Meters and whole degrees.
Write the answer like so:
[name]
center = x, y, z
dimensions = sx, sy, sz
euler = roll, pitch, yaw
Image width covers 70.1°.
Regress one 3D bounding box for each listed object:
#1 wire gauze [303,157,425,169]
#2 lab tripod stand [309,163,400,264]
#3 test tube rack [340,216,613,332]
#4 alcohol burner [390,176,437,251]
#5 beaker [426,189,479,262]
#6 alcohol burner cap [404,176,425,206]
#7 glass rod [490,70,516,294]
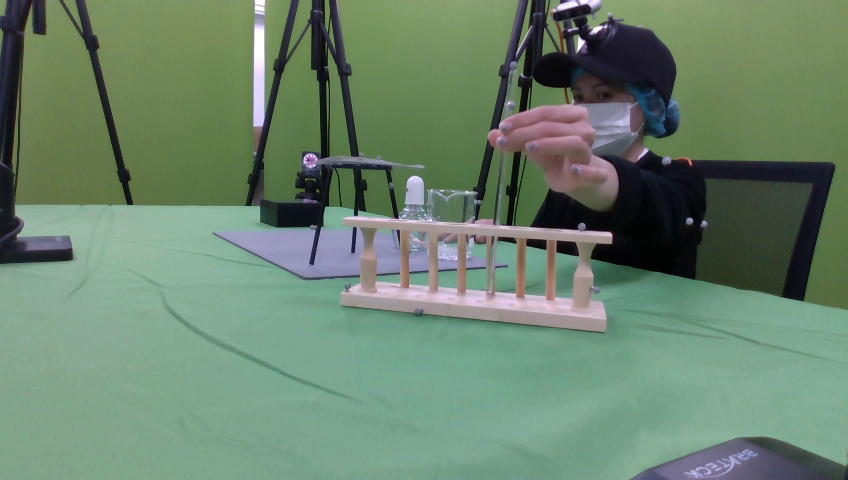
[wire gauze]
center = -0.082, -0.102, 0.799
dimensions = 0.126, 0.011, 0.121
euler = -1, 7, -30
[lab tripod stand]
center = -0.091, -0.037, 0.813
dimensions = 0.148, 0.131, 0.148
euler = 1, 6, 0
[test tube rack]
center = 0.047, 0.026, 0.568
dimensions = 0.242, 0.085, 0.067
euler = 4, 7, 13
[alcohol burner]
center = -0.016, -0.042, 0.955
dimensions = 0.078, 0.119, 0.078
euler = 4, 6, 0
[beaker]
center = 0.039, -0.022, 0.871
dimensions = 0.074, 0.100, 0.084
euler = 4, 8, 12
[alcohol burner cap]
center = -0.015, -0.077, 0.951
dimensions = 0.034, 0.048, 0.034
euler = 2, 4, 0
[glass rod]
center = 0.070, -0.048, 0.538
dimensions = 0.008, 0.199, 0.008
euler = 3, 11, 0
